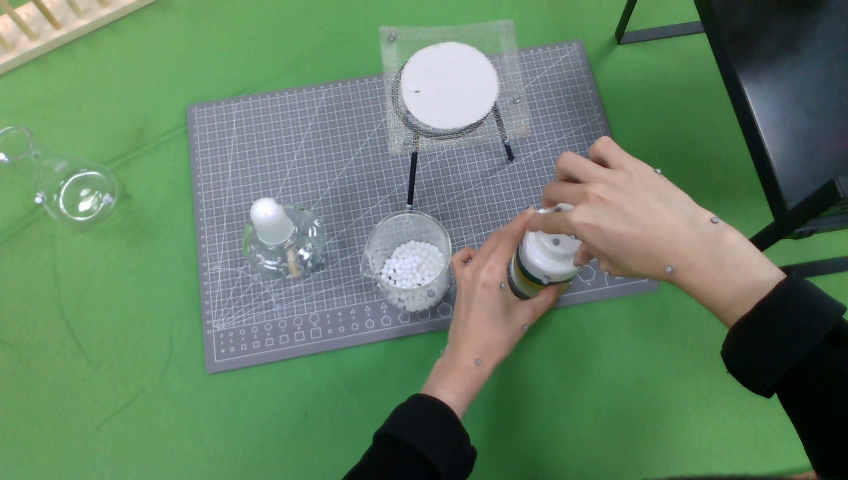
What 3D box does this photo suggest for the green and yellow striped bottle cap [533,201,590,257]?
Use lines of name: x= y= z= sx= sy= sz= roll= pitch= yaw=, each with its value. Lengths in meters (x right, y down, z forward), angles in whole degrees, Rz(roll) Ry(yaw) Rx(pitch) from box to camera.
green and yellow striped bottle cap: x=0.114 y=-0.009 z=0.499 sx=0.045 sy=0.020 sz=0.045 roll=-1 pitch=77 yaw=3

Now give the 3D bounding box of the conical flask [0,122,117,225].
conical flask: x=-0.362 y=-0.068 z=0.587 sx=0.075 sy=0.122 sz=0.075 roll=0 pitch=71 yaw=1

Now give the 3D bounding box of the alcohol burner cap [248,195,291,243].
alcohol burner cap: x=-0.138 y=-0.021 z=0.531 sx=0.034 sy=0.048 sz=0.033 roll=1 pitch=64 yaw=-1

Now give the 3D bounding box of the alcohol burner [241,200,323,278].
alcohol burner: x=-0.136 y=-0.007 z=0.566 sx=0.078 sy=0.120 sz=0.077 roll=0 pitch=70 yaw=-1

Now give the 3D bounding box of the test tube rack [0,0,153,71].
test tube rack: x=-0.422 y=-0.280 z=0.677 sx=0.242 sy=0.085 sz=0.066 roll=-30 pitch=74 yaw=-9

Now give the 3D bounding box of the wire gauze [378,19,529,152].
wire gauze: x=0.024 y=-0.138 z=0.524 sx=0.121 sy=0.011 sz=0.124 roll=-5 pitch=72 yaw=-2

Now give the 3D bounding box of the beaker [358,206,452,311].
beaker: x=-0.015 y=0.024 z=0.561 sx=0.084 sy=0.101 sz=0.073 roll=-22 pitch=72 yaw=-5

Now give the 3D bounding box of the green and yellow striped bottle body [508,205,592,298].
green and yellow striped bottle body: x=0.114 y=0.009 z=0.553 sx=0.063 sy=0.120 sz=0.063 roll=0 pitch=71 yaw=2

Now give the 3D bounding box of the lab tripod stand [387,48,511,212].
lab tripod stand: x=0.019 y=-0.111 z=0.586 sx=0.148 sy=0.132 sz=0.147 roll=0 pitch=70 yaw=0
